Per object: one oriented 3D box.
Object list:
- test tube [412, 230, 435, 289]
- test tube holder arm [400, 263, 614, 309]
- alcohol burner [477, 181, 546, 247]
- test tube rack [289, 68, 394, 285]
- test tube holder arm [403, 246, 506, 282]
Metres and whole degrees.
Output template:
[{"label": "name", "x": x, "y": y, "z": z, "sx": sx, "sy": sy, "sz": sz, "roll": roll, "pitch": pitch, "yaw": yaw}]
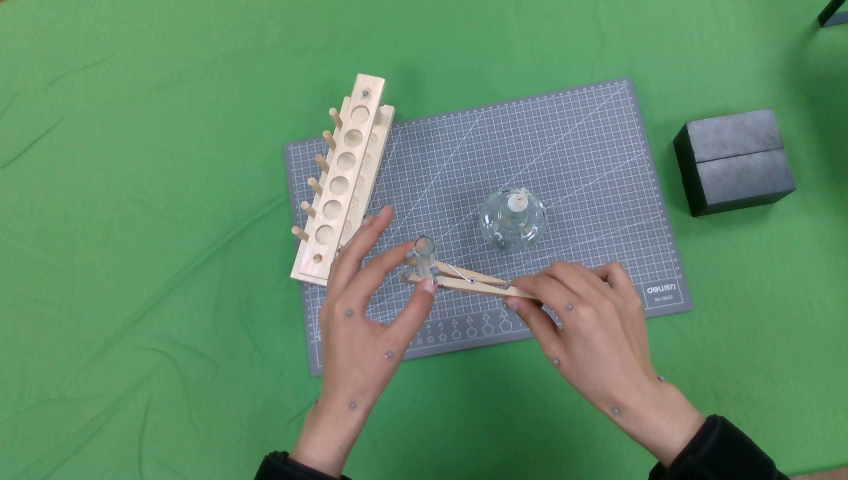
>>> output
[{"label": "test tube", "x": 0.001, "y": 0.020, "z": 0.499, "sx": 0.017, "sy": 0.151, "sz": 0.017, "roll": 0, "pitch": 74, "yaw": 1}, {"label": "test tube holder arm", "x": 0.068, "y": 0.039, "z": 0.504, "sx": 0.178, "sy": 0.015, "sz": 0.013, "roll": 11, "pitch": 78, "yaw": 2}, {"label": "alcohol burner", "x": 0.099, "y": -0.034, "z": 0.679, "sx": 0.078, "sy": 0.119, "sz": 0.077, "roll": -1, "pitch": 76, "yaw": 3}, {"label": "test tube rack", "x": -0.104, "y": -0.076, "z": 0.718, "sx": 0.066, "sy": 0.085, "sz": 0.241, "roll": 13, "pitch": 79, "yaw": 8}, {"label": "test tube holder arm", "x": 0.026, "y": 0.023, "z": 0.507, "sx": 0.088, "sy": 0.015, "sz": 0.010, "roll": 18, "pitch": 78, "yaw": 3}]
